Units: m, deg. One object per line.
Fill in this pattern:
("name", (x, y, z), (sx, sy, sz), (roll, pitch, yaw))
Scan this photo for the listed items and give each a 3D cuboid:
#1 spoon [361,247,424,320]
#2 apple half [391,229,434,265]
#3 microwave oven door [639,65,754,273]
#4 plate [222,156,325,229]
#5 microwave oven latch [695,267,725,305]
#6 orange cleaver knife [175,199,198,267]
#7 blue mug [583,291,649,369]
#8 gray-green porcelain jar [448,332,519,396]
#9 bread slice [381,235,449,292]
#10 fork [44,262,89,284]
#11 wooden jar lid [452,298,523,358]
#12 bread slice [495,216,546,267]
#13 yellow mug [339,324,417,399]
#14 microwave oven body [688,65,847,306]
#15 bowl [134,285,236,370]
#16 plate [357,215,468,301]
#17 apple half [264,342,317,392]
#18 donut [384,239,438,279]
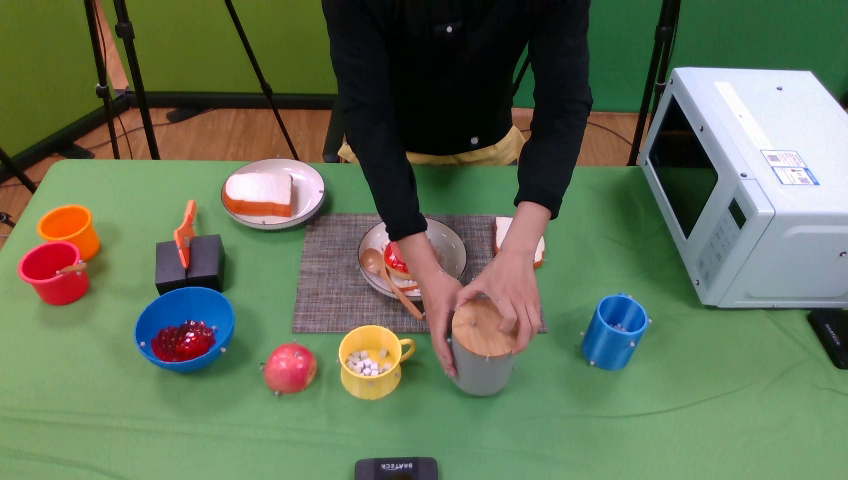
("spoon", (-0.057, 0.077, 1.076), (0.041, 0.022, 0.192), (-46, 51, 6))
("apple half", (-0.021, 0.003, 1.086), (0.081, 0.033, 0.081), (7, 46, -8))
("microwave oven door", (0.522, -0.147, 1.193), (0.039, 0.245, 0.353), (0, 47, -3))
("plate", (-0.308, -0.095, 1.251), (0.209, 0.038, 0.208), (2, 47, -2))
("microwave oven latch", (0.524, 0.082, 1.115), (0.030, 0.029, 0.078), (5, 46, 2))
("orange cleaver knife", (-0.438, -0.017, 1.138), (0.012, 0.077, 0.210), (-14, 27, -7))
("blue mug", (0.324, 0.142, 1.023), (0.082, 0.106, 0.116), (15, 47, 11))
("gray-green porcelain jar", (0.092, 0.177, 0.960), (0.106, 0.127, 0.105), (2, 47, -2))
("bread slice", (-0.027, 0.040, 1.141), (0.107, 0.018, 0.133), (-11, 49, -16))
("fork", (-0.598, 0.054, 1.014), (0.207, 0.019, 0.028), (-15, 29, 45))
("wooden jar lid", (0.095, 0.135, 0.915), (0.108, 0.021, 0.107), (3, 48, -3))
("bread slice", (0.194, 0.002, 1.204), (0.105, 0.019, 0.131), (5, 45, 2))
("yellow mug", (-0.072, 0.190, 0.978), (0.131, 0.064, 0.099), (-17, 50, -20))
("microwave oven body", (0.669, -0.111, 1.176), (0.326, 0.261, 0.439), (0, 46, -3))
("bowl", (-0.377, 0.155, 0.981), (0.151, 0.077, 0.150), (2, 46, -2))
("plate", (-0.021, 0.037, 1.141), (0.208, 0.039, 0.206), (2, 46, -2))
("apple half", (-0.214, 0.198, 0.970), (0.074, 0.053, 0.080), (19, 48, 10))
("donut", (-0.025, 0.029, 1.109), (0.099, 0.048, 0.098), (2, 47, -2))
